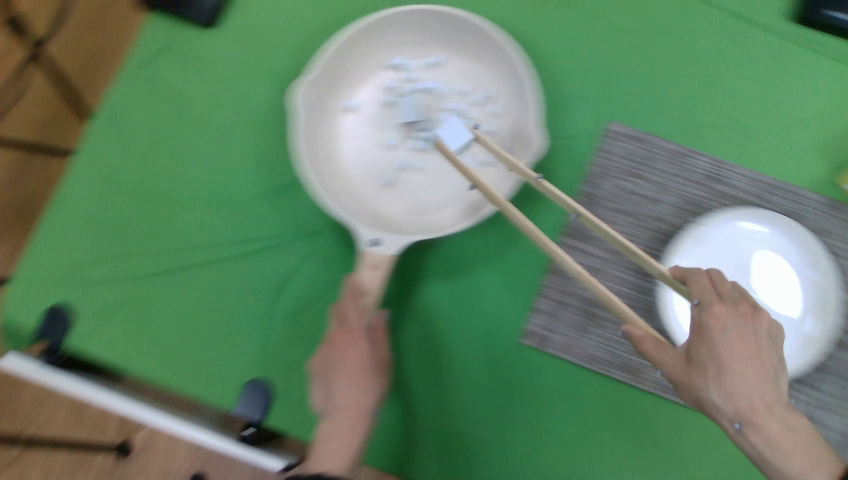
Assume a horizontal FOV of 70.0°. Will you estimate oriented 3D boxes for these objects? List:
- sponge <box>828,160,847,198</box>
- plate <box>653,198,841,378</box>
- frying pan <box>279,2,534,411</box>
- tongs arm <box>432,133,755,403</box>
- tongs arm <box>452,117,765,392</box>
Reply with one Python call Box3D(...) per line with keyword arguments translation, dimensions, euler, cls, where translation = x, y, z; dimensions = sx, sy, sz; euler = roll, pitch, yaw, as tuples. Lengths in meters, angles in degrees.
Box3D(translation=(0.602, -0.038, 0.706), dimensions=(0.118, 0.061, 0.206), euler=(-35, 79, -6), cls="sponge")
Box3D(translation=(0.369, 0.056, 0.708), dimensions=(0.207, 0.039, 0.207), euler=(0, 80, 2), cls="plate")
Box3D(translation=(-0.046, -0.046, 0.710), dimensions=(0.306, 0.103, 0.485), euler=(13, 72, 5), cls="frying pan")
Box3D(translation=(0.135, 0.013, 0.573), dimensions=(0.028, 0.028, 0.384), euler=(-38, 64, -15), cls="tongs arm")
Box3D(translation=(0.151, -0.001, 0.577), dimensions=(0.381, 0.027, 0.050), euler=(40, 75, 24), cls="tongs arm")
